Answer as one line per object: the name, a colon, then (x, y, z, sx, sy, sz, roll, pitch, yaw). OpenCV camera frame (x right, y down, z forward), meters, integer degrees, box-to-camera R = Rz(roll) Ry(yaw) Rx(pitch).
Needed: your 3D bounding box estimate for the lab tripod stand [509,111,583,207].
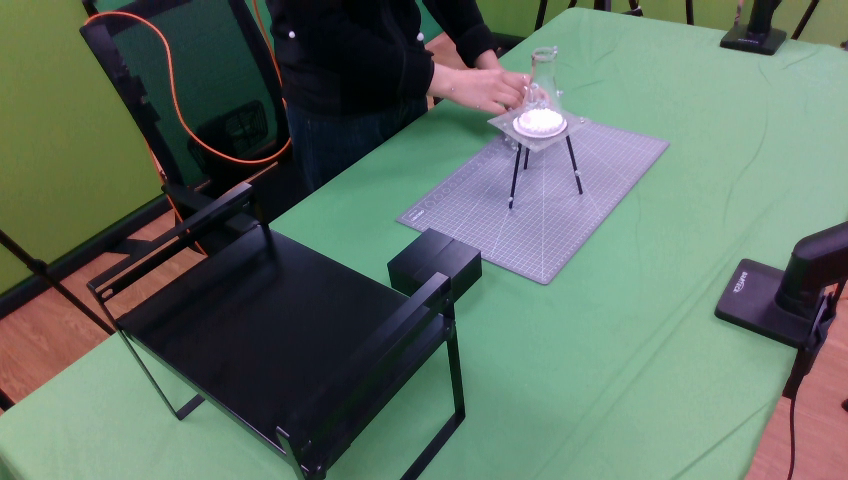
lab tripod stand: (0.198, -0.139, 1.019, 0.148, 0.132, 0.147, -3, 39, 3)

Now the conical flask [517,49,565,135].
conical flask: (0.183, -0.231, 0.936, 0.075, 0.122, 0.075, -4, 40, 4)

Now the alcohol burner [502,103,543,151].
alcohol burner: (0.186, -0.231, 1.145, 0.078, 0.119, 0.077, -6, 39, 5)

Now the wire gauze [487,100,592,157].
wire gauze: (0.185, -0.187, 0.974, 0.122, 0.011, 0.124, -28, 47, -22)

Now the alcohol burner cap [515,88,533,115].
alcohol burner cap: (0.184, -0.259, 1.118, 0.034, 0.048, 0.033, -9, 46, 10)
